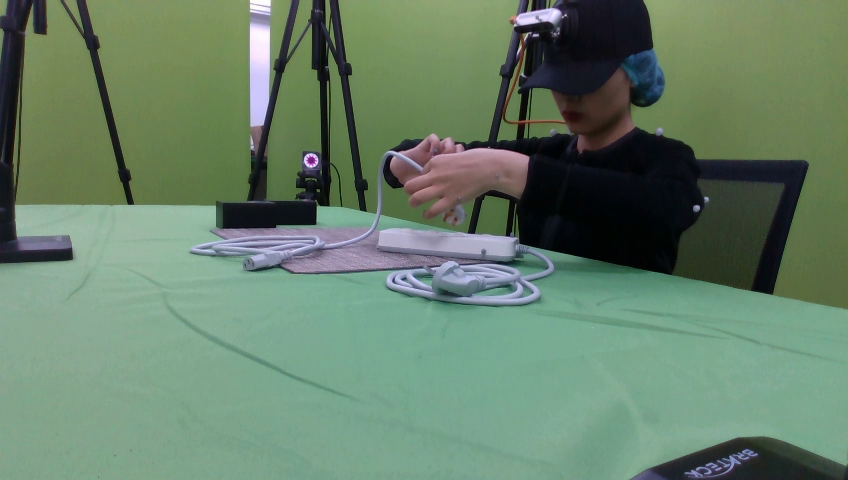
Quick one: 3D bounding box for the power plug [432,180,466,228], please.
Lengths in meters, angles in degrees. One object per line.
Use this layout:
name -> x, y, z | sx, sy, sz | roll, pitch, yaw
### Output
power plug -> 0.031, -0.050, 0.920 | 0.072, 0.035, 0.053 | 31, 43, -3

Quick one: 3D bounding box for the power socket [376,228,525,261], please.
power socket -> 0.037, 0.005, 0.913 | 0.226, 0.032, 0.072 | 5, 8, 16
